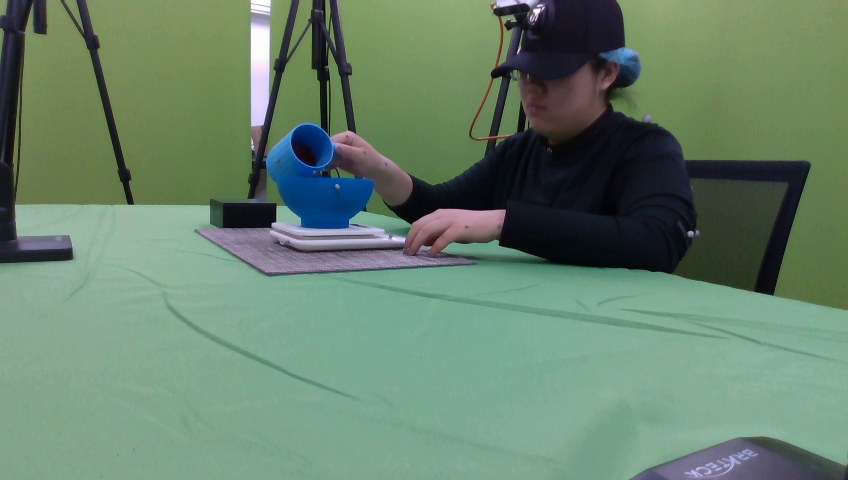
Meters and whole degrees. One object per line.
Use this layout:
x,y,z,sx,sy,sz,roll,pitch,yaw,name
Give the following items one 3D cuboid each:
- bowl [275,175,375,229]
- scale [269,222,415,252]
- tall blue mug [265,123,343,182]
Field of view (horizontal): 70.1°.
-0.152,-0.059,0.932,0.151,0.077,0.151,2,6,0,bowl
-0.130,-0.008,0.958,0.202,0.031,0.148,-1,9,-32,scale
-0.200,-0.148,1.018,0.107,0.078,0.107,-46,14,-35,tall blue mug
